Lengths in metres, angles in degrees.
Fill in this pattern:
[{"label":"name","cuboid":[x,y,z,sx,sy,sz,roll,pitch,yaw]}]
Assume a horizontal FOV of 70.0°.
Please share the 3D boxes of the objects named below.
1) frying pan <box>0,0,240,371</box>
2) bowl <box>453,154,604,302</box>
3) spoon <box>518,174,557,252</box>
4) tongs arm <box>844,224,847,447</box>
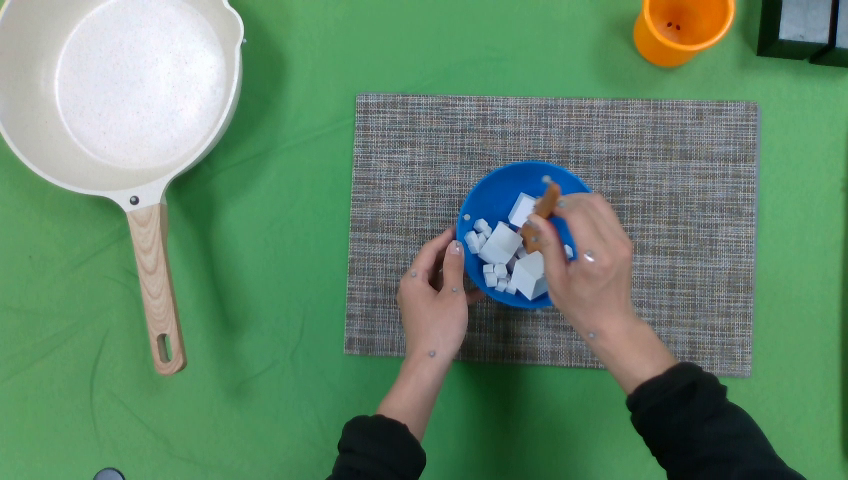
[{"label":"frying pan","cuboid":[-0.320,-0.096,0.669,0.307,0.103,0.485,-14,79,5]},{"label":"bowl","cuboid":[0.108,-0.010,0.644,0.151,0.077,0.151,0,88,4]},{"label":"spoon","cuboid":[0.102,-0.021,0.547,0.021,0.194,0.041,-30,77,0]},{"label":"tongs arm","cuboid":[0.470,0.054,0.647,0.028,0.028,0.387,1,89,3]}]
